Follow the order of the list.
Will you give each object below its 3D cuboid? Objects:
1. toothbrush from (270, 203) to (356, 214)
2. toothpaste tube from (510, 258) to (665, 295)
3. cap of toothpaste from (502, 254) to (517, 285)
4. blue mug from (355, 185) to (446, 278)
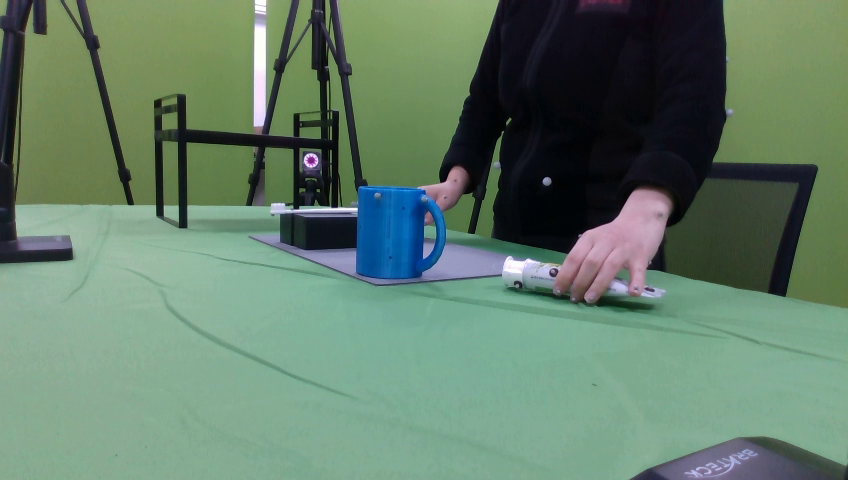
[{"bbox_3d":[-0.156,-0.050,0.958,0.183,0.016,0.014,-2,3,-34],"label":"toothbrush"},{"bbox_3d":[0.167,0.042,0.645,0.164,0.034,0.055,6,11,26],"label":"toothpaste tube"},{"bbox_3d":[0.099,0.034,0.682,0.011,0.037,0.037,7,9,28],"label":"cap of toothpaste"},{"bbox_3d":[-0.027,-0.011,0.723,0.116,0.106,0.083,7,8,27],"label":"blue mug"}]
